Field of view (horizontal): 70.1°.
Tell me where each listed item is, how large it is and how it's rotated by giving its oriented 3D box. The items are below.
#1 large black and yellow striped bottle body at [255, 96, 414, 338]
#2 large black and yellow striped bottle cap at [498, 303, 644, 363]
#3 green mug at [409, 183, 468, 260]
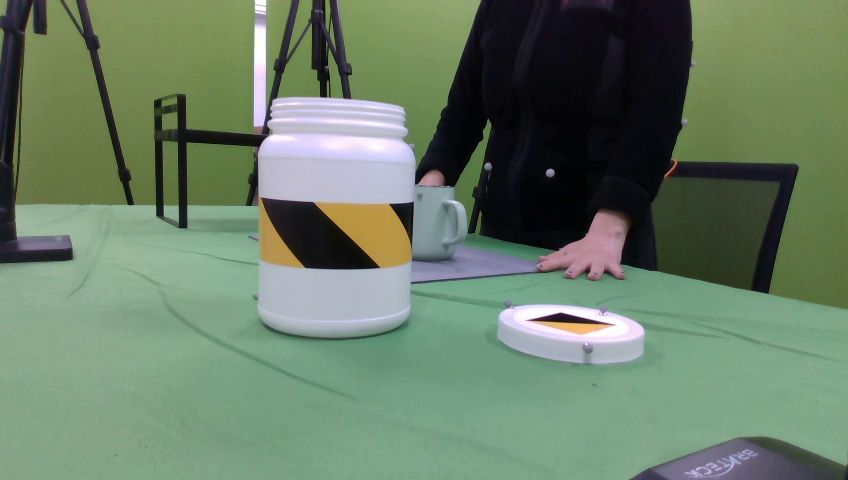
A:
[{"bbox_3d":[-0.074,-0.022,0.508,0.131,0.184,0.130,2,7,0],"label":"large black and yellow striped bottle body"},{"bbox_3d":[0.117,0.072,0.487,0.115,0.019,0.115,1,8,0],"label":"large black and yellow striped bottle cap"},{"bbox_3d":[0.015,-0.026,0.859,0.093,0.105,0.124,-4,10,-42],"label":"green mug"}]
